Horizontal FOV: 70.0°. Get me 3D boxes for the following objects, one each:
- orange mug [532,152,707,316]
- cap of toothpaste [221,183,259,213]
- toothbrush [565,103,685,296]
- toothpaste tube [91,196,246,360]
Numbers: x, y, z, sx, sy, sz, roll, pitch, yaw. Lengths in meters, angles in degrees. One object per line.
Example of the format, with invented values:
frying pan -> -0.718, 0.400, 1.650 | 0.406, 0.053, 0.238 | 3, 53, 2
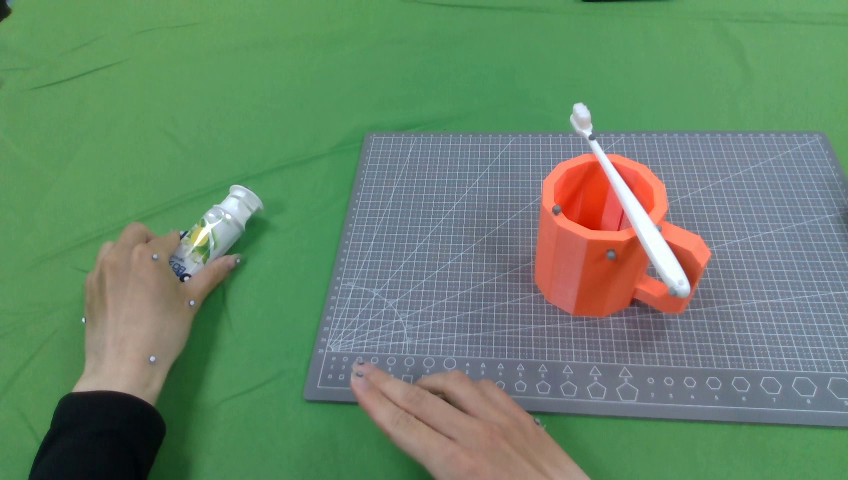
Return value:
orange mug -> 0.142, 0.004, 0.455 | 0.125, 0.102, 0.083 | 26, 58, 29
cap of toothpaste -> -0.169, -0.037, 0.555 | 0.037, 0.038, 0.011 | 14, 54, 16
toothbrush -> 0.135, -0.036, 0.420 | 0.014, 0.017, 0.180 | -11, 51, -6
toothpaste tube -> -0.212, 0.023, 0.521 | 0.054, 0.035, 0.164 | 19, 61, 28
